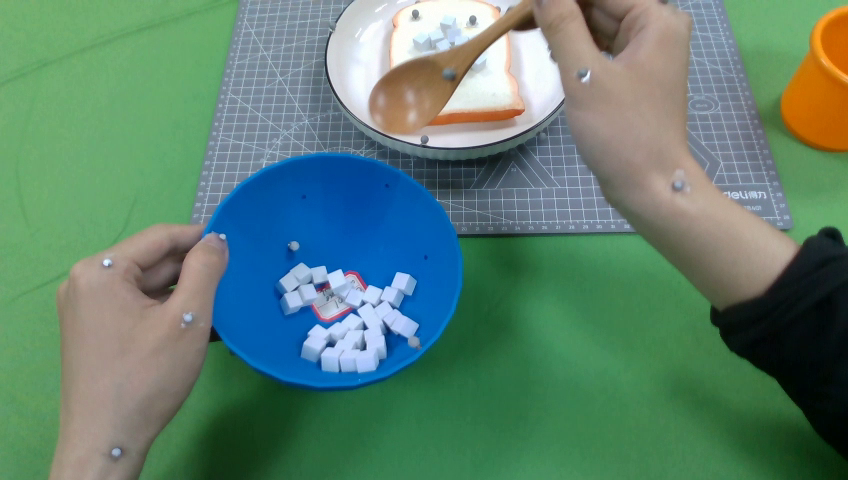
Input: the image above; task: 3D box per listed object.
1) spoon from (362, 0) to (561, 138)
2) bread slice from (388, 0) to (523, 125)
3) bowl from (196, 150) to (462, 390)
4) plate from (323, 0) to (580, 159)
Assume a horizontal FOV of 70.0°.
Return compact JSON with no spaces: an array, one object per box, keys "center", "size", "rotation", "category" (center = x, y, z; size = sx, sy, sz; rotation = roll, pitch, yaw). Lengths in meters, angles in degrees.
[{"center":[0.042,-0.112,0.327],"size":[0.193,0.022,0.041],"rotation":[-28,84,31],"category":"spoon"},{"center":[0.018,-0.153,0.512],"size":[0.107,0.018,0.133],"rotation":[-7,63,0],"category":"bread slice"},{"center":[-0.057,0.027,0.379],"size":[0.152,0.077,0.150],"rotation":[4,62,-8],"category":"bowl"},{"center":[0.021,-0.149,0.507],"size":[0.209,0.038,0.207],"rotation":[-1,62,3],"category":"plate"}]
